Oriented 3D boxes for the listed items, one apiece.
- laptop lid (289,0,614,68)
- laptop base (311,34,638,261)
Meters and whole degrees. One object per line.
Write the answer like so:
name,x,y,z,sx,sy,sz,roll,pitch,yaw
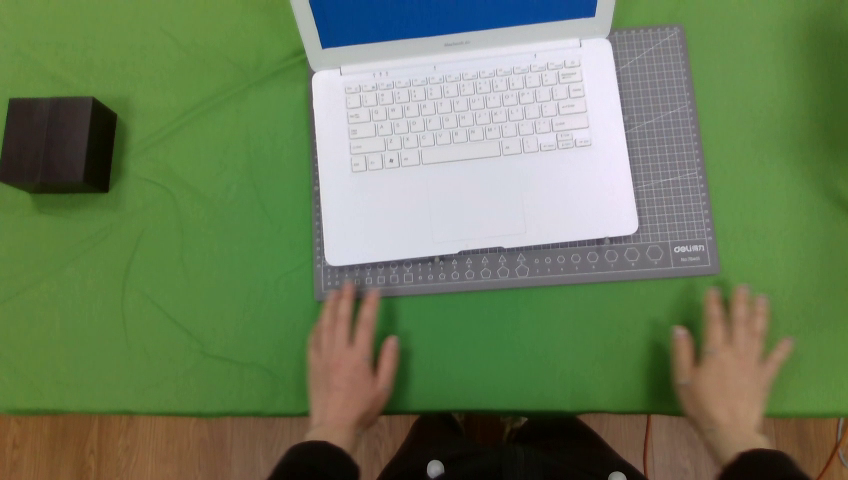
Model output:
laptop lid,0.029,-0.289,0.621,0.357,0.244,0.013,-7,55,3
laptop base,0.052,-0.108,0.697,0.354,0.023,0.234,-6,83,2
